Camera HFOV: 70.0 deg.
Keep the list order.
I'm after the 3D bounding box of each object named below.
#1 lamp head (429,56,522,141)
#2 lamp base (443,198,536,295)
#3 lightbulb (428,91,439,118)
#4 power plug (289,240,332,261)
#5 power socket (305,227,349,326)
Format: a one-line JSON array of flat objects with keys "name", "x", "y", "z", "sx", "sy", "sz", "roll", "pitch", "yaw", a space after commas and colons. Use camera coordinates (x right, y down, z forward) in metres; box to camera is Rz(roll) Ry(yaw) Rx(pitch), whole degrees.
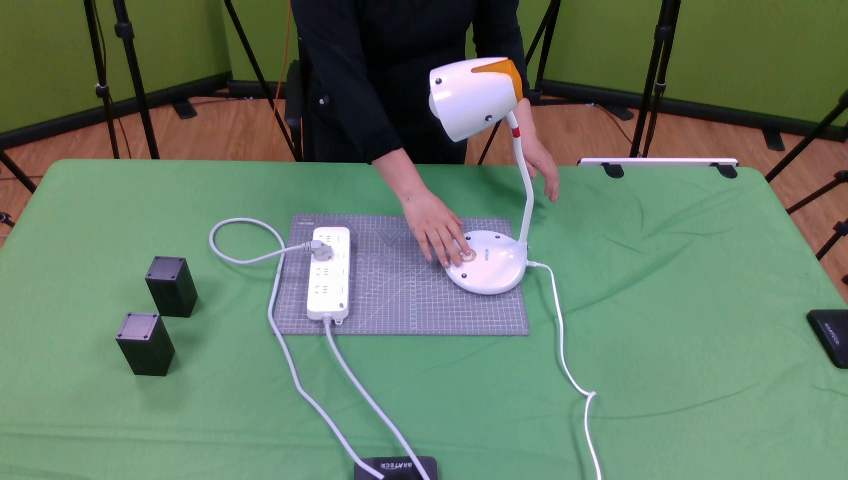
[{"name": "lamp head", "x": 0.082, "y": -0.212, "z": 0.882, "sx": 0.123, "sy": 0.113, "sz": 0.111, "roll": -13, "pitch": 44, "yaw": 14}, {"name": "lamp base", "x": 0.132, "y": -0.013, "z": 1.106, "sx": 0.179, "sy": 0.181, "sz": 0.159, "roll": 0, "pitch": 46, "yaw": -8}, {"name": "lightbulb", "x": 0.057, "y": -0.213, "z": 0.888, "sx": 0.107, "sy": 0.060, "sz": 0.059, "roll": -12, "pitch": 41, "yaw": 23}, {"name": "power plug", "x": -0.207, "y": 0.022, "z": 1.123, "sx": 0.072, "sy": 0.053, "sz": 0.035, "roll": 6, "pitch": 44, "yaw": 5}, {"name": "power socket", "x": -0.177, "y": 0.058, "z": 1.115, "sx": 0.072, "sy": 0.033, "sz": 0.225, "roll": -1, "pitch": 46, "yaw": -4}]
